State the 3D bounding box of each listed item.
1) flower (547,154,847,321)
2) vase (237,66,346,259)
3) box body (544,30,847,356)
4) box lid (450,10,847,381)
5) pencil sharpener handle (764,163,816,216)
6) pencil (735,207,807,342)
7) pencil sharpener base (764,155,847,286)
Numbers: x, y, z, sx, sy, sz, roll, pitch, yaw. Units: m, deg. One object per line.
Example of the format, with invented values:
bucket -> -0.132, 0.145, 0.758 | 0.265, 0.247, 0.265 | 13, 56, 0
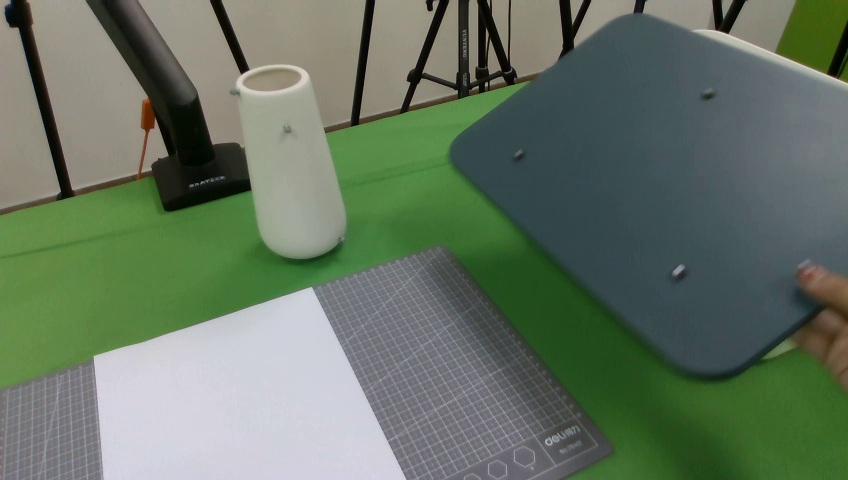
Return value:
flower -> 0.291, -0.009, 0.679 | 0.358, 0.038, 0.044 | 34, 14, 29
vase -> -0.142, -0.077, 0.643 | 0.098, 0.202, 0.097 | -2, 38, 2
box body -> 0.322, -0.073, 0.645 | 0.255, 0.162, 0.359 | -18, 41, -19
box lid -> 0.201, -0.074, 0.516 | 0.263, 0.015, 0.367 | -37, 43, -2
pencil sharpener handle -> 0.381, -0.058, 0.637 | 0.036, 0.068, 0.030 | -22, 42, -18
pencil -> 0.362, 0.029, 0.636 | 0.012, 0.012, 0.192 | 0, 43, 3
pencil sharpener base -> 0.403, -0.020, 0.609 | 0.061, 0.108, 0.076 | -18, 41, -21
